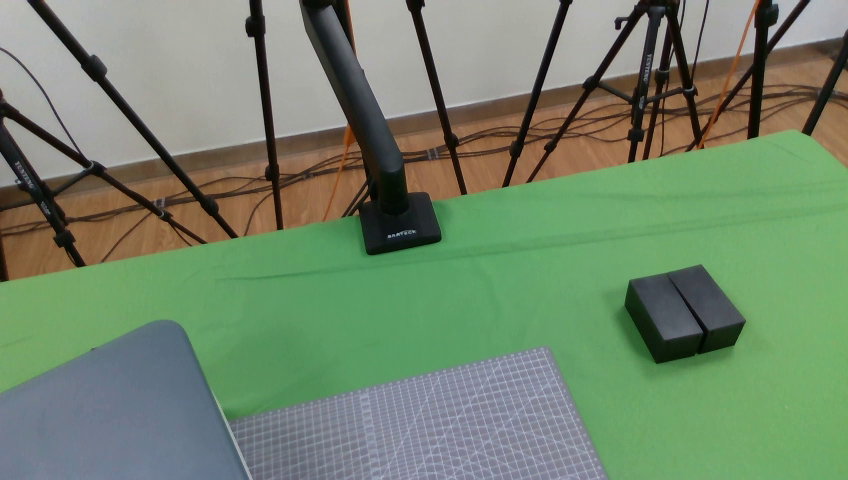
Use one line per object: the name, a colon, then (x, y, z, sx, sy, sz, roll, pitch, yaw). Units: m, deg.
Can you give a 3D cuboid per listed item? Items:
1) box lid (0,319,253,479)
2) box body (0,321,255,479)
box lid: (-0.355, 0.229, 0.529, 0.372, 0.015, 0.260, -27, 48, -20)
box body: (-0.350, 0.282, 0.581, 0.364, 0.162, 0.251, -27, 48, -19)
